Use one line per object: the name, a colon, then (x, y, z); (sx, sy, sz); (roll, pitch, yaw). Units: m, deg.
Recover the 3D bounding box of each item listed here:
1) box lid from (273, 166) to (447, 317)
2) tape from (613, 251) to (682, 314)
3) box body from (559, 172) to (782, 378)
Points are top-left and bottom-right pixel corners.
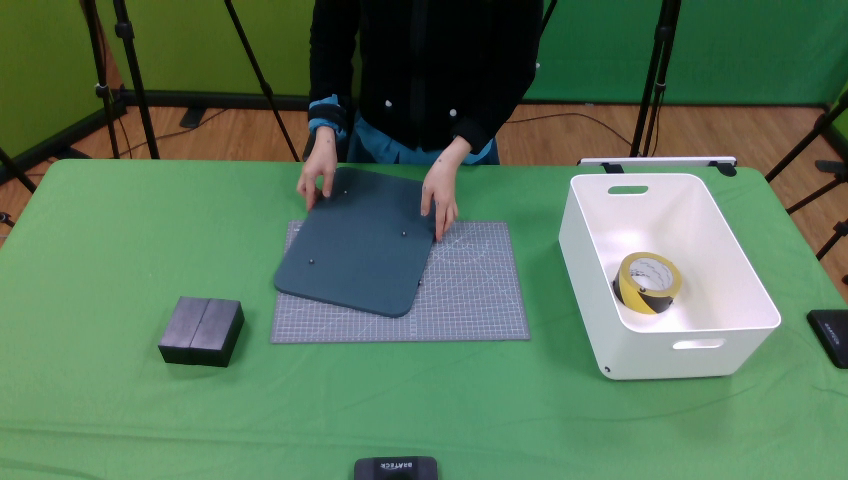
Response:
box lid: (-0.114, -0.011, 1.202); (0.263, 0.015, 0.369); (12, 47, 8)
tape: (0.413, 0.077, 1.122); (0.117, 0.053, 0.116); (2, 45, -2)
box body: (0.405, 0.057, 1.074); (0.254, 0.161, 0.361); (-2, 46, -5)
